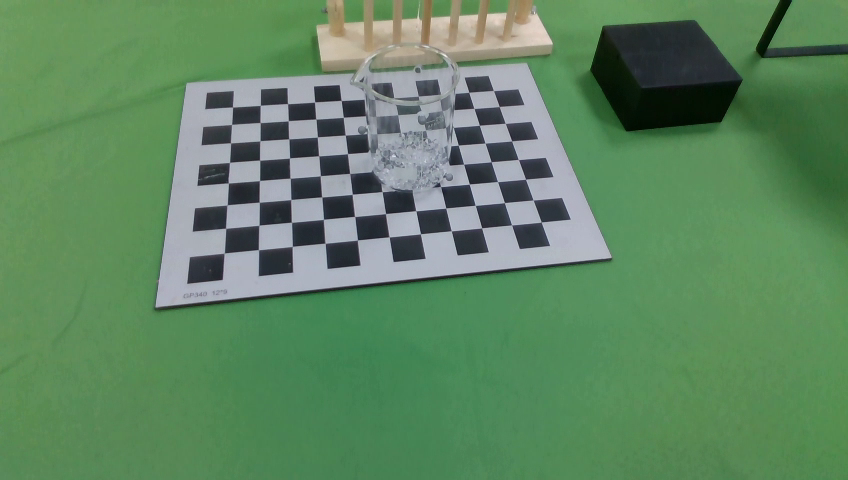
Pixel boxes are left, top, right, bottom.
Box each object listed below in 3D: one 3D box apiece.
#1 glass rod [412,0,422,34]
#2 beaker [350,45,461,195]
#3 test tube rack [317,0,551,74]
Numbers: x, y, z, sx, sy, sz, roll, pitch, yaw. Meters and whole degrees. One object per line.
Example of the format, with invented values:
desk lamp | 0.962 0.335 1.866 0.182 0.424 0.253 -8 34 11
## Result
glass rod | 0.004 -0.283 0.573 0.008 0.201 0.008 5 52 -7
beaker | -0.014 -0.092 0.489 0.084 0.101 0.073 -5 51 -6
test tube rack | 0.011 -0.233 0.619 0.243 0.086 0.066 -7 51 -9
